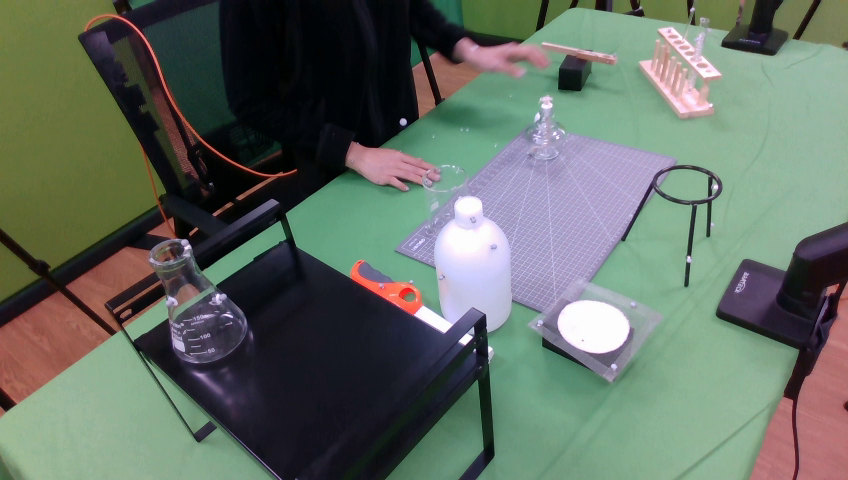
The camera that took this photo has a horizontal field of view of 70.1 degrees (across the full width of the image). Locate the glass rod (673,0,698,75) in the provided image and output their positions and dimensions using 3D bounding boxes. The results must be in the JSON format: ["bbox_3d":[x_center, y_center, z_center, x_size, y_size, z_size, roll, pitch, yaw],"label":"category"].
[{"bbox_3d":[0.538,-0.425,1.244,0.008,0.200,0.008,0,47,1],"label":"glass rod"}]

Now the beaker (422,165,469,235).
[{"bbox_3d":[0.041,-0.063,0.986,0.073,0.101,0.084,20,47,29],"label":"beaker"}]

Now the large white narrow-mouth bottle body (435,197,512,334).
[{"bbox_3d":[0.066,0.028,0.805,0.102,0.195,0.101,-4,40,4],"label":"large white narrow-mouth bottle body"}]

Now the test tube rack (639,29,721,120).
[{"bbox_3d":[0.527,-0.351,1.262,0.067,0.085,0.241,-8,40,1],"label":"test tube rack"}]

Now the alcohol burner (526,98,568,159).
[{"bbox_3d":[0.228,-0.210,1.118,0.078,0.119,0.077,-5,43,5],"label":"alcohol burner"}]

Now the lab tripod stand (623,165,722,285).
[{"bbox_3d":[0.365,-0.030,0.874,0.148,0.132,0.147,-6,41,6],"label":"lab tripod stand"}]

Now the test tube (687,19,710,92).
[{"bbox_3d":[0.540,-0.360,1.193,0.017,0.151,0.017,-4,43,4],"label":"test tube"}]

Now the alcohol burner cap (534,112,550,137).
[{"bbox_3d":[0.235,-0.231,1.197,0.034,0.048,0.033,-4,39,4],"label":"alcohol burner cap"}]

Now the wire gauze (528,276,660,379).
[{"bbox_3d":[0.213,0.103,0.763,0.124,0.011,0.122,30,52,35],"label":"wire gauze"}]

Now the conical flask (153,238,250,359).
[{"bbox_3d":[-0.225,0.055,0.597,0.075,0.122,0.075,-5,41,4],"label":"conical flask"}]

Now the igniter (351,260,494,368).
[{"bbox_3d":[-0.013,0.098,0.864,0.274,0.025,0.057,30,65,36],"label":"igniter"}]

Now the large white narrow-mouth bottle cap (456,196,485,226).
[{"bbox_3d":[0.057,-0.036,0.749,0.038,0.024,0.037,-4,40,4],"label":"large white narrow-mouth bottle cap"}]

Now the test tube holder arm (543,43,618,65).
[{"bbox_3d":[0.344,-0.413,1.340,0.177,0.015,0.013,25,51,31],"label":"test tube holder arm"}]

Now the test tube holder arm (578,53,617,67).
[{"bbox_3d":[0.376,-0.393,1.314,0.087,0.015,0.010,26,51,32],"label":"test tube holder arm"}]
